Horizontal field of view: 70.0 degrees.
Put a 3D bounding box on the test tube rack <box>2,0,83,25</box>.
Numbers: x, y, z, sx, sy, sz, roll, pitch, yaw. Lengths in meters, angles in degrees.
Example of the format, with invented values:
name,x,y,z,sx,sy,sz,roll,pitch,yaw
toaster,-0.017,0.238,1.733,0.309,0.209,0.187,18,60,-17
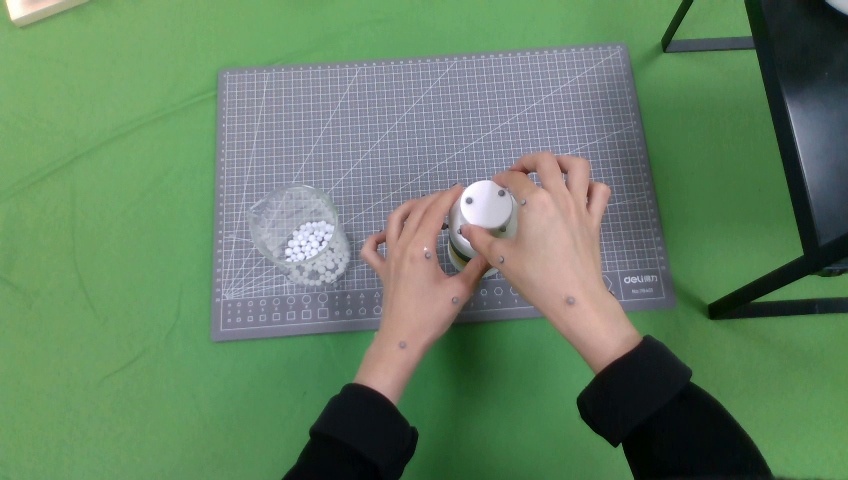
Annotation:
name,x,y,z,sx,sy,sz,roll,pitch,yaw
test tube rack,-0.369,-0.333,0.670,0.242,0.085,0.066,-24,74,-7

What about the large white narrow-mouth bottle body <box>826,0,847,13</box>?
name,x,y,z,sx,sy,sz,roll,pitch,yaw
large white narrow-mouth bottle body,0.348,-0.243,0.393,0.102,0.196,0.101,-1,72,3

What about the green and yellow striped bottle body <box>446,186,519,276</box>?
name,x,y,z,sx,sy,sz,roll,pitch,yaw
green and yellow striped bottle body,0.051,-0.011,0.549,0.063,0.120,0.063,0,73,2

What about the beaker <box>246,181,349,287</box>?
name,x,y,z,sx,sy,sz,roll,pitch,yaw
beaker,-0.112,-0.001,0.559,0.084,0.101,0.073,16,73,6

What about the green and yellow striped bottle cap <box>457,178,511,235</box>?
name,x,y,z,sx,sy,sz,roll,pitch,yaw
green and yellow striped bottle cap,0.049,-0.028,0.496,0.045,0.020,0.045,0,74,2
